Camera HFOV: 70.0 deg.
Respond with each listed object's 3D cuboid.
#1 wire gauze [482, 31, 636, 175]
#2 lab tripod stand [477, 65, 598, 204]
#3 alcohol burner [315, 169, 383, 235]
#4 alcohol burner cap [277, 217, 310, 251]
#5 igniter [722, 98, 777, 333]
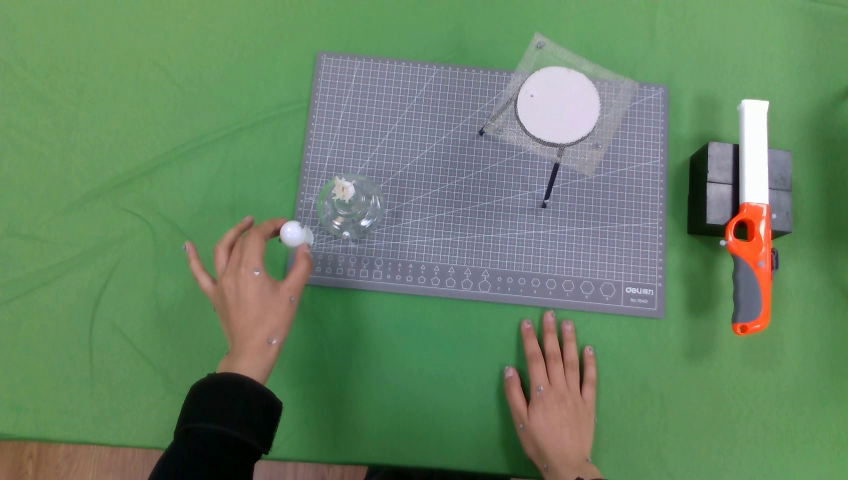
[{"bbox_3d":[0.141,-0.142,0.623,0.121,0.011,0.125,28,78,4],"label":"wire gauze"},{"bbox_3d":[0.138,-0.130,0.689,0.148,0.132,0.147,0,76,-1],"label":"lab tripod stand"},{"bbox_3d":[-0.085,-0.046,0.676,0.078,0.119,0.077,0,80,-2],"label":"alcohol burner"},{"bbox_3d":[-0.141,-0.008,0.646,0.034,0.048,0.033,1,78,-3],"label":"alcohol burner cap"},{"bbox_3d":[0.368,-0.031,0.686,0.057,0.025,0.275,6,78,5],"label":"igniter"}]
